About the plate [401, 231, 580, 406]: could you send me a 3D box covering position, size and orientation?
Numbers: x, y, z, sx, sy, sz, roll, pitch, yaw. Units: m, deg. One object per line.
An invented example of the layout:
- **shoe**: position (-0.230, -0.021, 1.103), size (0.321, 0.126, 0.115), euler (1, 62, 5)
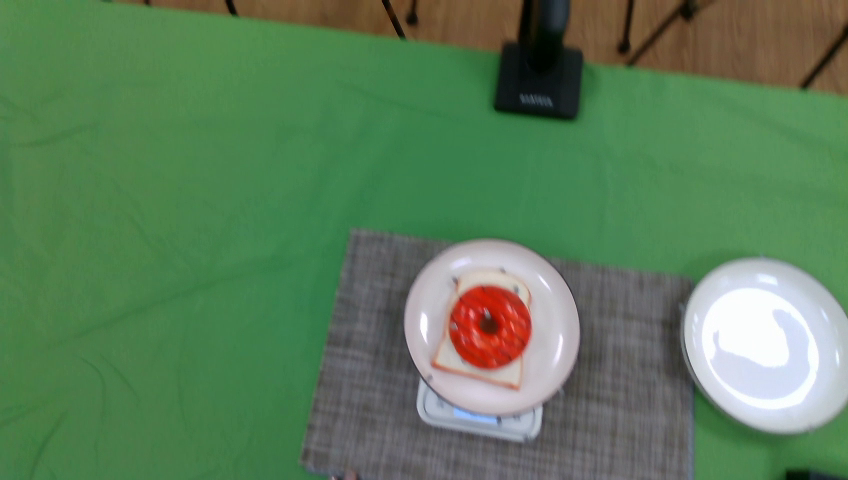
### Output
- **plate**: position (0.077, 0.091, 0.718), size (0.209, 0.038, 0.207), euler (0, 71, 1)

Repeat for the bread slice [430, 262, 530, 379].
- **bread slice**: position (0.071, 0.089, 0.721), size (0.105, 0.019, 0.131), euler (13, 72, 4)

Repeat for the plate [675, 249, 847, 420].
- **plate**: position (0.409, 0.114, 0.739), size (0.208, 0.039, 0.206), euler (0, 71, 1)

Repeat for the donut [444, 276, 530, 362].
- **donut**: position (0.072, 0.090, 0.689), size (0.099, 0.048, 0.098), euler (1, 74, -1)

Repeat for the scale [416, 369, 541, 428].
- **scale**: position (0.076, 0.119, 0.743), size (0.148, 0.032, 0.200), euler (8, 72, 4)
